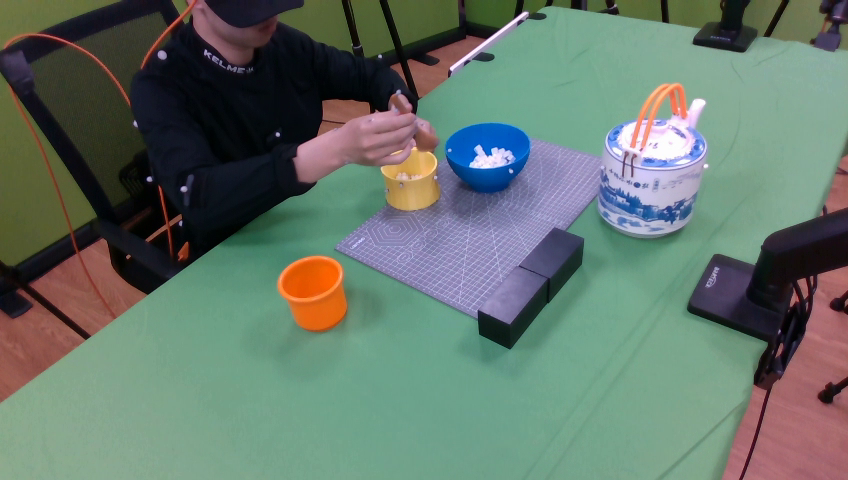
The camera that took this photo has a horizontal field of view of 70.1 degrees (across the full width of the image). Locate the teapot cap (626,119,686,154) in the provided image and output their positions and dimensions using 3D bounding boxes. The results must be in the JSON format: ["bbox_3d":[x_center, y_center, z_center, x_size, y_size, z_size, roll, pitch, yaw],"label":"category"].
[{"bbox_3d":[0.338,-0.153,0.882,0.085,0.044,0.085,-3,38,3],"label":"teapot cap"}]

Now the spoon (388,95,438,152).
[{"bbox_3d":[-0.019,-0.176,0.925,0.041,0.195,0.021,-28,67,10],"label":"spoon"}]

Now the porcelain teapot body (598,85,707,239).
[{"bbox_3d":[0.362,-0.137,0.921,0.144,0.226,0.206,29,51,36],"label":"porcelain teapot body"}]

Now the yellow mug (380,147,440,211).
[{"bbox_3d":[-0.022,-0.117,1.070,0.100,0.064,0.130,0,41,9],"label":"yellow mug"}]

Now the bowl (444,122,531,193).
[{"bbox_3d":[0.113,-0.136,1.063,0.151,0.077,0.150,-4,41,4],"label":"bowl"}]
